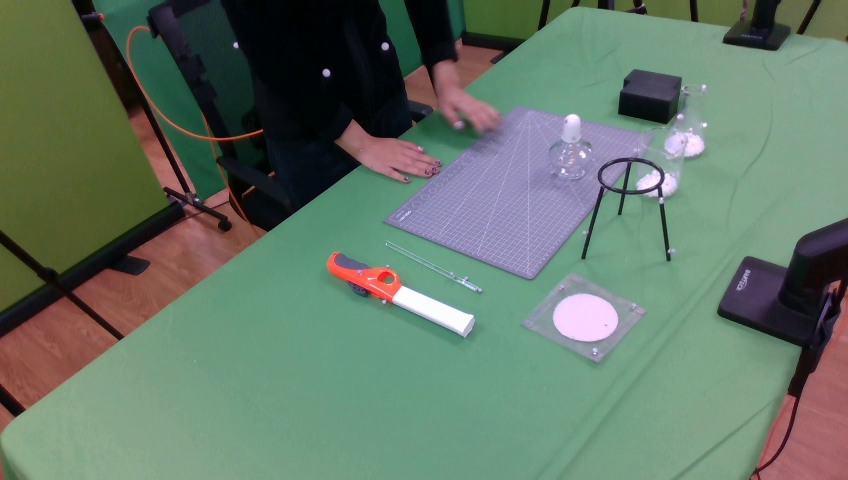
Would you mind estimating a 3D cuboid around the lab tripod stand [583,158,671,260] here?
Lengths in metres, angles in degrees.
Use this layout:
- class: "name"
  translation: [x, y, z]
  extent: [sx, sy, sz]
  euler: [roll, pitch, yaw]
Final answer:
- class: "lab tripod stand"
  translation: [0.300, -0.046, 0.895]
  extent: [0.148, 0.132, 0.147]
  euler: [-7, 38, 6]

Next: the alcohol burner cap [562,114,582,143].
- class: "alcohol burner cap"
  translation: [0.254, -0.191, 1.030]
  extent: [0.034, 0.048, 0.033]
  euler: [-5, 50, 6]

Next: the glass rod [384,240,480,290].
- class: "glass rod"
  translation: [0.009, 0.037, 0.950]
  extent: [0.198, 0.008, 0.008]
  euler: [26, 52, 34]

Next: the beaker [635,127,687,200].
- class: "beaker"
  translation: [0.389, -0.122, 0.994]
  extent: [0.074, 0.101, 0.083]
  euler: [-8, 40, 2]

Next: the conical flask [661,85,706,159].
- class: "conical flask"
  translation: [0.464, -0.210, 1.065]
  extent: [0.075, 0.122, 0.075]
  euler: [-6, 40, 5]

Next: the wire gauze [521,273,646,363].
- class: "wire gauze"
  translation: [0.219, 0.105, 0.830]
  extent: [0.120, 0.011, 0.125]
  euler: [28, 54, 37]

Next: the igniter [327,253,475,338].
- class: "igniter"
  translation: [-0.045, 0.077, 0.898]
  extent: [0.274, 0.025, 0.057]
  euler: [22, 60, 32]

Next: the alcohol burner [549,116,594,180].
- class: "alcohol burner"
  translation: [0.258, -0.166, 1.055]
  extent: [0.078, 0.120, 0.077]
  euler: [-6, 42, 6]
